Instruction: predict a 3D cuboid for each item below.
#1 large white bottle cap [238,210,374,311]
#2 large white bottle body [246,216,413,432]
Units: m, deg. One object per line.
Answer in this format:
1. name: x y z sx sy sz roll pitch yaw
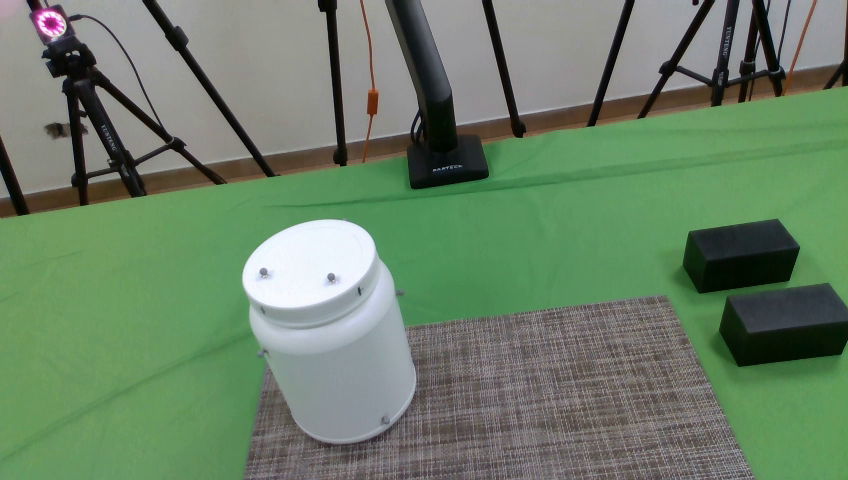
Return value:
1. large white bottle cap: -0.100 0.015 0.517 0.115 0.018 0.113 -6 39 5
2. large white bottle body: -0.087 0.078 0.571 0.130 0.186 0.129 -6 40 6
